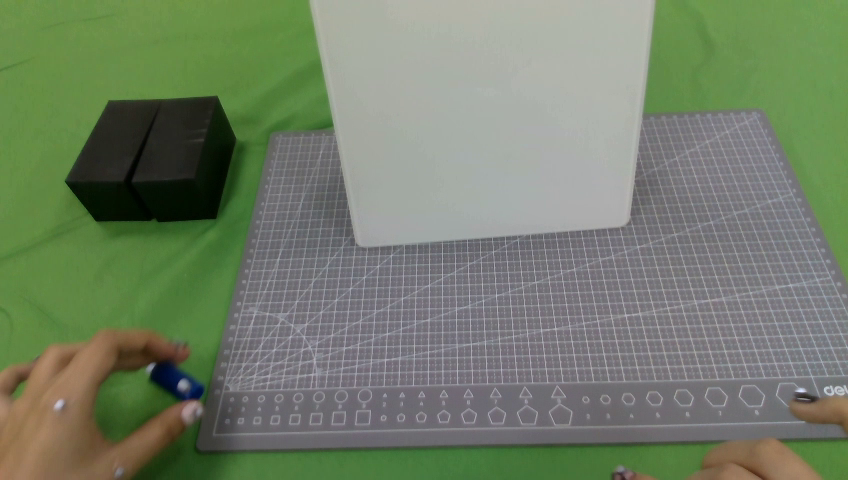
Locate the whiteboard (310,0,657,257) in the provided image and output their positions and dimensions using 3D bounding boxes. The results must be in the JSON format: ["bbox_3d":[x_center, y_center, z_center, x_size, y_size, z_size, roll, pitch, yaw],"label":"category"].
[{"bbox_3d":[0.041,-0.160,0.449,0.217,0.308,0.142,-4,33,3],"label":"whiteboard"}]

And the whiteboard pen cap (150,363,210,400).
[{"bbox_3d":[-0.157,0.092,0.388,0.033,0.018,0.018,16,55,8],"label":"whiteboard pen cap"}]
